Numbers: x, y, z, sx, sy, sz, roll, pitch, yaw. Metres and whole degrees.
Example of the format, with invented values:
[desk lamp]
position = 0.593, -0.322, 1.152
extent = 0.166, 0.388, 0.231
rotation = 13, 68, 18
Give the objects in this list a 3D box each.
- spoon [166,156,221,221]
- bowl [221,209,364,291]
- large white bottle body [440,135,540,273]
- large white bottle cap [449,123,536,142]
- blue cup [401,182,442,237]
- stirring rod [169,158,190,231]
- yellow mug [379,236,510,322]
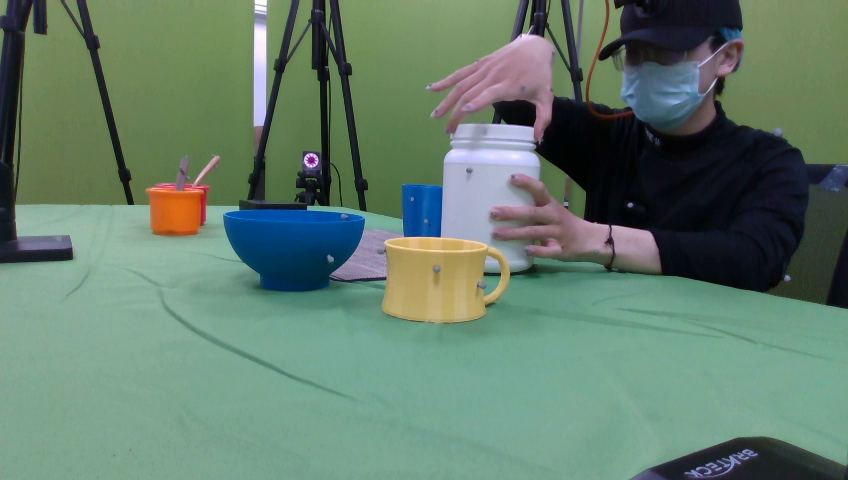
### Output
[spoon]
position = -0.447, -0.104, 1.191
extent = 0.041, 0.022, 0.193
rotation = 7, 52, 14
[bowl]
position = -0.142, 0.011, 0.660
extent = 0.151, 0.077, 0.151
rotation = 2, 7, 0
[large white bottle body]
position = 0.088, -0.057, 0.813
extent = 0.131, 0.184, 0.130
rotation = 2, 7, 0
[large white bottle cap]
position = 0.091, -0.142, 0.803
extent = 0.115, 0.018, 0.115
rotation = 3, 7, 0
[blue cup]
position = 0.002, -0.038, 0.966
extent = 0.093, 0.100, 0.092
rotation = 3, 9, 0
[stirring rod]
position = -0.427, -0.082, 1.059
extent = 0.014, 0.006, 0.175
rotation = 2, 49, -13
[yellow mug]
position = 0.024, 0.034, 0.575
extent = 0.131, 0.064, 0.099
rotation = 0, 7, -22
